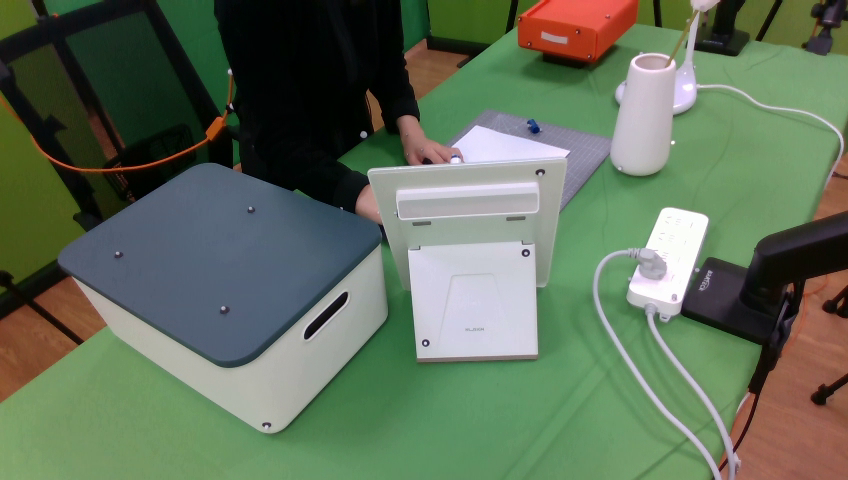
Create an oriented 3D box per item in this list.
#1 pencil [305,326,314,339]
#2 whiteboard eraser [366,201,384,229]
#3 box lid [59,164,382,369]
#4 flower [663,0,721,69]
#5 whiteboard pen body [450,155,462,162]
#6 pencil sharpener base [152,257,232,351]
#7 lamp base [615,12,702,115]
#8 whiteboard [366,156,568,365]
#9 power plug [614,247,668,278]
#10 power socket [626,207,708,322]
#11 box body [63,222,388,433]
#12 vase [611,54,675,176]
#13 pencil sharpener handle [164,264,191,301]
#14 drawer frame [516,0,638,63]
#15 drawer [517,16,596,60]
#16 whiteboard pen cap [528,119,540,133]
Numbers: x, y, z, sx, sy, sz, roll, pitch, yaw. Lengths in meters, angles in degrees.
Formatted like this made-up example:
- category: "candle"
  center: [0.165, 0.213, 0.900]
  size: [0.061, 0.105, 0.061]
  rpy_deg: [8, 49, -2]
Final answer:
- category: "pencil"
  center: [-0.187, 0.106, 0.880]
  size: [0.012, 0.012, 0.192]
  rpy_deg: [-27, 42, -22]
- category: "whiteboard eraser"
  center: [-0.038, -0.038, 1.006]
  size: [0.112, 0.042, 0.055]
  rpy_deg: [17, 47, 25]
- category: "box lid"
  center: [-0.263, 0.010, 0.777]
  size: [0.368, 0.015, 0.264]
  rpy_deg: [20, 47, 29]
- category: "flower"
  center: [0.379, -0.261, 0.965]
  size: [0.044, 0.362, 0.038]
  rpy_deg: [20, 53, 5]
- category: "whiteboard pen body"
  center: [0.045, -0.056, 0.825]
  size: [0.017, 0.017, 0.140]
  rpy_deg: [-3, 63, 5]
- category: "pencil sharpener base"
  center: [-0.322, 0.088, 0.842]
  size: [0.061, 0.107, 0.076]
  rpy_deg: [-27, 44, -20]
- category: "lamp base"
  center: [0.484, -0.363, 1.211]
  size: [0.180, 0.181, 0.159]
  rpy_deg: [-15, 41, -14]
- category: "whiteboard"
  center: [0.059, 0.050, 0.738]
  size: [0.217, 0.307, 0.143]
  rpy_deg: [-2, 60, 6]
- category: "power plug"
  center: [0.306, 0.031, 0.851]
  size: [0.072, 0.053, 0.035]
  rpy_deg: [24, 49, 33]
- category: "power socket"
  center: [0.359, 0.026, 0.886]
  size: [0.072, 0.033, 0.227]
  rpy_deg: [16, 46, 26]
- category: "box body"
  center: [-0.256, 0.065, 0.827]
  size: [0.361, 0.161, 0.255]
  rpy_deg: [20, 48, 29]
- category: "vase"
  center: [0.377, -0.209, 1.031]
  size: [0.098, 0.201, 0.097]
  rpy_deg: [-3, 40, 3]
- category: "pencil sharpener handle"
  center: [-0.354, 0.055, 0.866]
  size: [0.036, 0.068, 0.030]
  rpy_deg: [-17, 39, -29]
- category: "drawer frame"
  center: [0.355, -0.508, 1.410]
  size: [0.200, 0.083, 0.214]
  rpy_deg: [23, 51, 32]
- category: "drawer"
  center: [0.352, -0.506, 1.405]
  size: [0.193, 0.073, 0.212]
  rpy_deg: [23, 49, 32]
- category: "whiteboard pen cap"
  center: [0.221, -0.229, 1.211]
  size: [0.018, 0.018, 0.033]
  rpy_deg: [-13, 40, -7]
